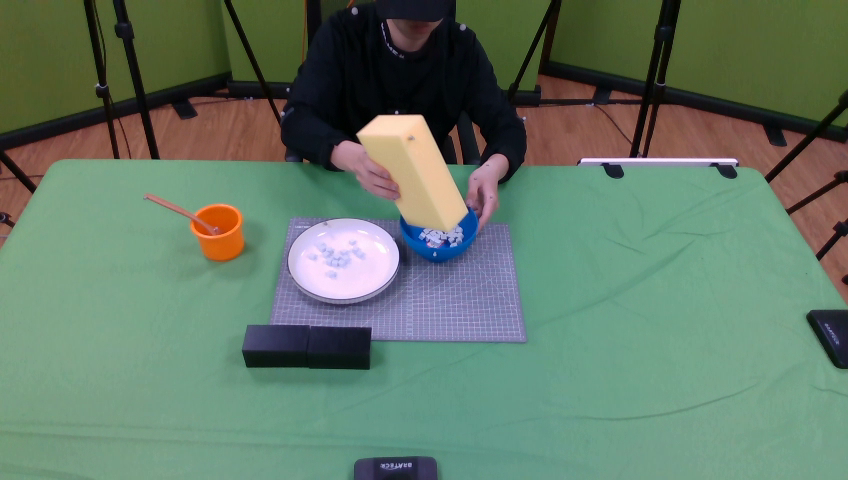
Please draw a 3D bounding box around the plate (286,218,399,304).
[{"bbox_3d":[-0.150,0.042,1.131,0.209,0.038,0.208,2,45,-2],"label":"plate"}]

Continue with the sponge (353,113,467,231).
[{"bbox_3d":[-0.022,-0.117,1.049,0.117,0.208,0.061,13,53,47],"label":"sponge"}]

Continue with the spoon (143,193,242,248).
[{"bbox_3d":[-0.421,-0.037,1.113,0.021,0.195,0.041,-37,37,23],"label":"spoon"}]

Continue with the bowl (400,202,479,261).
[{"bbox_3d":[0.025,-0.012,1.167,0.151,0.077,0.150,4,47,-5],"label":"bowl"}]
